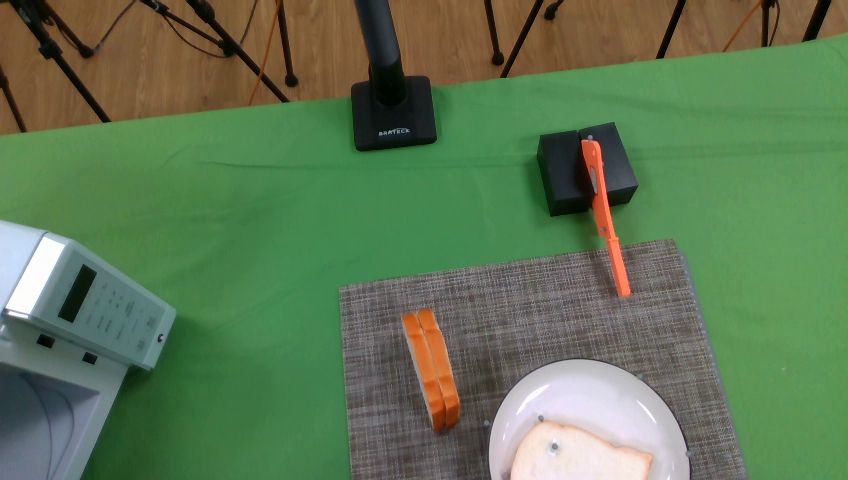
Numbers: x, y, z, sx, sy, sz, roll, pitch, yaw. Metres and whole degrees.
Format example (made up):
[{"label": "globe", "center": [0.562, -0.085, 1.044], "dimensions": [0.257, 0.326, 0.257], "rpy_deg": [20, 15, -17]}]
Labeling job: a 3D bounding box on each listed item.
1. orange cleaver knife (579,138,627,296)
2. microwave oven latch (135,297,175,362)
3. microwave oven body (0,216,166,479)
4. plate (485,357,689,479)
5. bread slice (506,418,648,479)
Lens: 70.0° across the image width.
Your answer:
[{"label": "orange cleaver knife", "center": [0.228, -0.033, 0.780], "dimensions": [0.012, 0.077, 0.211], "rpy_deg": [-12, 88, 1]}, {"label": "microwave oven latch", "center": [-0.340, 0.109, 0.755], "dimensions": [0.030, 0.030, 0.078], "rpy_deg": [14, 70, 8]}, {"label": "microwave oven body", "center": [-0.534, 0.198, 0.624], "dimensions": [0.325, 0.262, 0.439], "rpy_deg": [13, 70, 8]}, {"label": "plate", "center": [0.168, 0.230, 0.640], "dimensions": [0.207, 0.039, 0.206], "rpy_deg": [-1, 68, 4]}, {"label": "bread slice", "center": [0.154, 0.249, 0.632], "dimensions": [0.134, 0.018, 0.106], "rpy_deg": [17, 67, 12]}]
